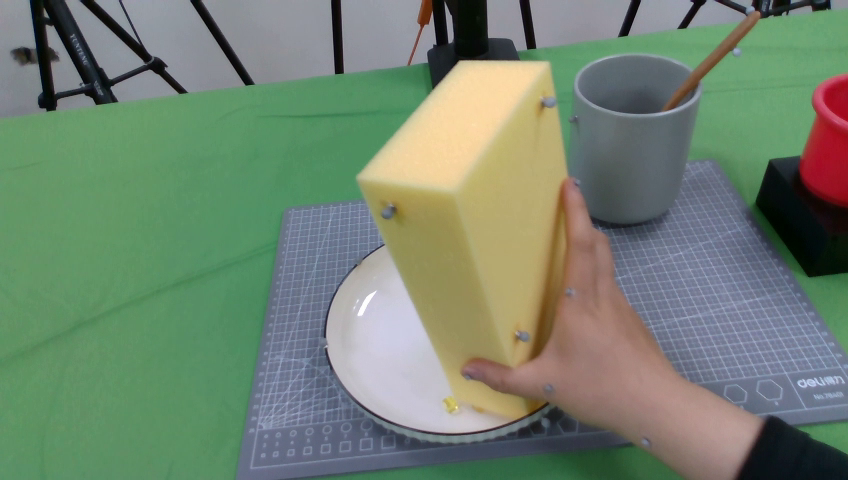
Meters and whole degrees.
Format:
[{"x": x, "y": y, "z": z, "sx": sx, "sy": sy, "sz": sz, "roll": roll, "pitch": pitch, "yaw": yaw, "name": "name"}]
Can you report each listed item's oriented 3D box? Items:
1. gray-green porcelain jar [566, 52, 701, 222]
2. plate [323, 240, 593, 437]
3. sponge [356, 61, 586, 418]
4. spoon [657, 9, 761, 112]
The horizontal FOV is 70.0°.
[{"x": 0.185, "y": -0.089, "z": 0.554, "sx": 0.106, "sy": 0.128, "sz": 0.105, "roll": -4, "pitch": 44, "yaw": 5, "name": "gray-green porcelain jar"}, {"x": 0.026, "y": 0.064, "z": 0.482, "sx": 0.207, "sy": 0.039, "sz": 0.205, "roll": -4, "pitch": 44, "yaw": 4, "name": "plate"}, {"x": 0.046, "y": 0.006, "z": 0.389, "sx": 0.060, "sy": 0.209, "sz": 0.117, "roll": 11, "pitch": 51, "yaw": 32, "name": "sponge"}, {"x": 0.211, "y": -0.112, "z": 0.520, "sx": 0.022, "sy": 0.194, "sz": 0.041, "roll": 25, "pitch": 41, "yaw": -6, "name": "spoon"}]
